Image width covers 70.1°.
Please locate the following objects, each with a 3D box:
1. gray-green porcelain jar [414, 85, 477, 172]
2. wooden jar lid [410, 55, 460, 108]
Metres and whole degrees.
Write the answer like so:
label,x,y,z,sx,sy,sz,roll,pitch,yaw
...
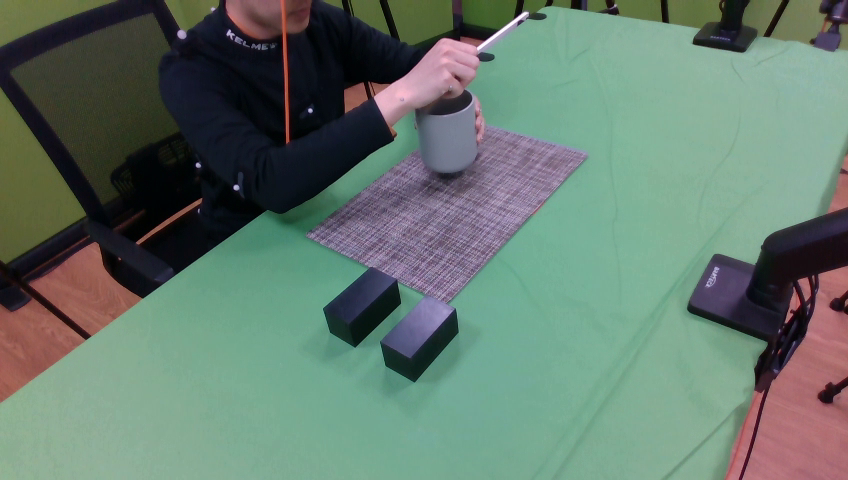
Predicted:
label,x,y,z,sx,sy,sz,roll,pitch,yaw
gray-green porcelain jar,0.040,-0.192,1.066,0.106,0.127,0.105,-4,42,4
wooden jar lid,0.020,-0.260,1.004,0.108,0.021,0.108,-41,24,23
